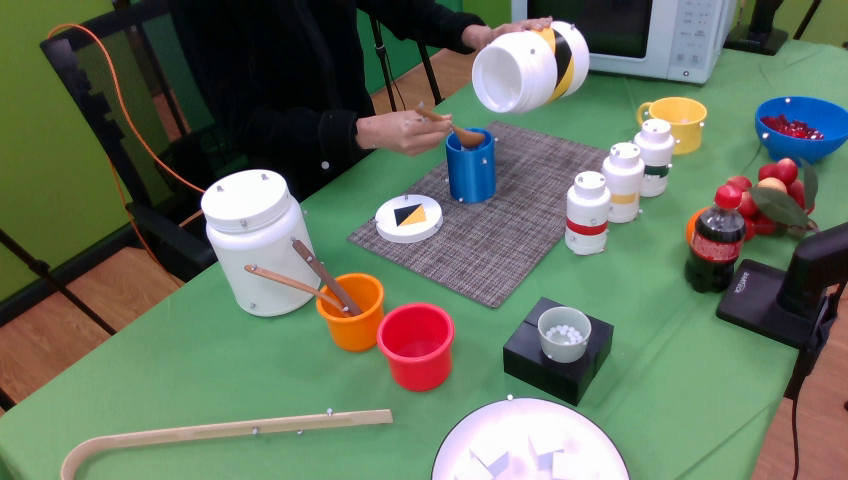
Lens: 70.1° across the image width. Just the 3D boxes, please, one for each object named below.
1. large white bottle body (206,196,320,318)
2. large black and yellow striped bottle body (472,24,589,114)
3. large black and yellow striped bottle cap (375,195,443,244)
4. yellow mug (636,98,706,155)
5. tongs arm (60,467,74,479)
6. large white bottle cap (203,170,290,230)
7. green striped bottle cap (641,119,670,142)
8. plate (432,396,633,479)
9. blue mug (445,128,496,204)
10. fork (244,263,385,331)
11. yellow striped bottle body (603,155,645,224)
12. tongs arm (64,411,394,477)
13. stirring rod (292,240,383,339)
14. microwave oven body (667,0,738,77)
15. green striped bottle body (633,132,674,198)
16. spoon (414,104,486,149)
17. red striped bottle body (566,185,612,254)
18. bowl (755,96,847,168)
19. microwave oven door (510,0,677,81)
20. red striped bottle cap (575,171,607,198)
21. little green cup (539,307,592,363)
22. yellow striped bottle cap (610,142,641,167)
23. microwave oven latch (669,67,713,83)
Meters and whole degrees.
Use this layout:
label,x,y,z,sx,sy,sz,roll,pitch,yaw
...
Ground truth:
label,x,y,z,sx,sy,sz,roll,pitch,yaw
large white bottle body,-0.233,0.008,0.876,0.130,0.185,0.130,-4,40,4
large black and yellow striped bottle body,0.182,-0.291,1.038,0.129,0.131,0.185,28,41,35
large black and yellow striped bottle cap,-0.026,-0.036,1.022,0.115,0.019,0.114,-4,41,4
yellow mug,0.453,-0.217,1.128,0.100,0.064,0.129,-34,46,-27
tongs arm,-0.239,0.301,0.648,0.386,0.028,0.028,6,49,16
large white bottle cap,-0.241,-0.057,0.822,0.115,0.018,0.114,-4,40,4
green striped bottle cap,0.371,-0.175,0.968,0.044,0.020,0.044,-5,42,5
plate,0.112,0.261,0.634,0.209,0.038,0.208,-5,40,4
blue mug,0.083,-0.139,1.057,0.082,0.106,0.116,-2,40,6
fork,-0.142,0.077,0.807,0.209,0.018,0.028,30,41,-24
yellow striped bottle body,0.314,-0.090,0.958,0.063,0.121,0.062,-4,40,4
tongs arm,-0.228,0.241,0.715,0.385,0.026,0.050,-5,43,4
stirring rod,-0.118,0.068,0.826,0.176,0.006,0.014,48,59,-4
microwave oven body,0.462,-0.552,1.369,0.439,0.261,0.326,15,45,26
green striped bottle body,0.376,-0.135,1.001,0.063,0.120,0.063,-5,40,5
spoon,0.041,-0.177,0.945,0.041,0.195,0.021,-31,62,27
red striped bottle body,0.248,-0.041,0.910,0.063,0.120,0.062,-4,41,4
bowl,0.645,-0.177,1.041,0.151,0.077,0.150,-5,40,4
microwave oven door,0.354,-0.478,1.290,0.353,0.245,0.039,15,45,25
red striped bottle cap,0.242,-0.081,0.876,0.044,0.018,0.044,-5,44,5
little green cup,0.168,0.115,0.721,0.061,0.039,0.061,-4,43,4
yellow striped bottle cap,0.308,-0.131,0.925,0.044,0.019,0.044,-4,45,5
microwave oven latch,0.556,-0.348,1.262,0.078,0.029,0.030,15,46,26
